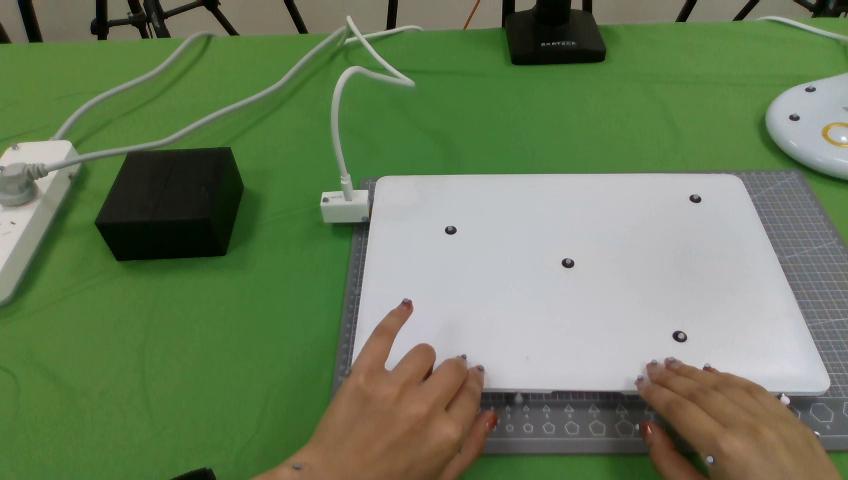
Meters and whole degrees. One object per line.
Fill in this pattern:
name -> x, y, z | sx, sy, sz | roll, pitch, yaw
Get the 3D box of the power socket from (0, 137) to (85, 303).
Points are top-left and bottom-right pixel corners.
power socket -> -0.400, -0.026, 0.587 | 0.072, 0.033, 0.224 | -2, 46, -1

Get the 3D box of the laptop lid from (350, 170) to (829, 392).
laptop lid -> 0.123, 0.021, 0.515 | 0.356, 0.013, 0.239 | 1, 49, 4

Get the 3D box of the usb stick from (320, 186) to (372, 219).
usb stick -> -0.067, -0.035, 0.575 | 0.059, 0.027, 0.021 | 0, 44, 0

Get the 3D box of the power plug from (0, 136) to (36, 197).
power plug -> -0.392, -0.074, 0.564 | 0.053, 0.073, 0.035 | 10, 29, -19

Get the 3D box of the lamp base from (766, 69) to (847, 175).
lamp base -> 0.454, -0.181, 0.595 | 0.159, 0.182, 0.179 | 26, 51, 25

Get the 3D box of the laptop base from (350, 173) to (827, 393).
laptop base -> 0.124, 0.027, 0.525 | 0.354, 0.023, 0.233 | 0, 50, 2
